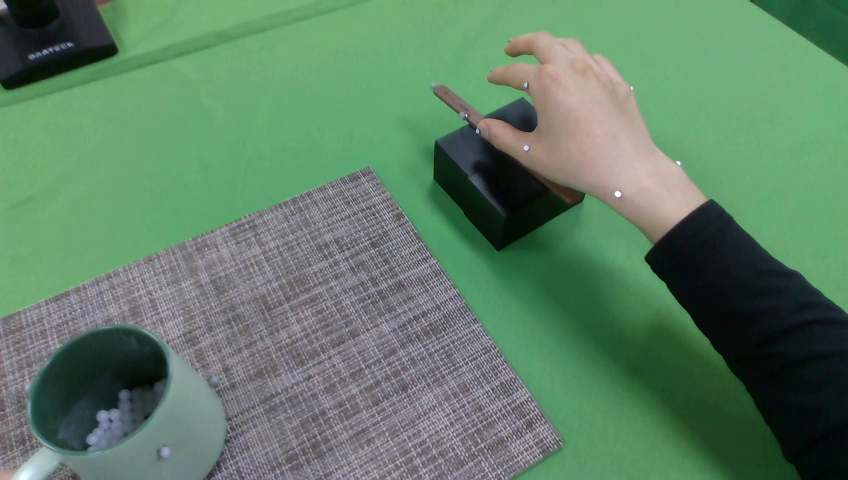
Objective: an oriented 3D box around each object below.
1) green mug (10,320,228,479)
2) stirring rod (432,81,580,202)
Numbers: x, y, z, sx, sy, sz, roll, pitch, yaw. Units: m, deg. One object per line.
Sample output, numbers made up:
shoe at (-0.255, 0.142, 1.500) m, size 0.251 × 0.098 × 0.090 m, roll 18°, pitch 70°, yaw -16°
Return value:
green mug at (-0.190, 0.120, 0.373) m, size 0.092 × 0.106 × 0.125 m, roll 32°, pitch 61°, yaw 19°
stirring rod at (0.066, -0.089, 0.524) m, size 0.014 × 0.006 × 0.174 m, roll -32°, pitch 62°, yaw -25°
